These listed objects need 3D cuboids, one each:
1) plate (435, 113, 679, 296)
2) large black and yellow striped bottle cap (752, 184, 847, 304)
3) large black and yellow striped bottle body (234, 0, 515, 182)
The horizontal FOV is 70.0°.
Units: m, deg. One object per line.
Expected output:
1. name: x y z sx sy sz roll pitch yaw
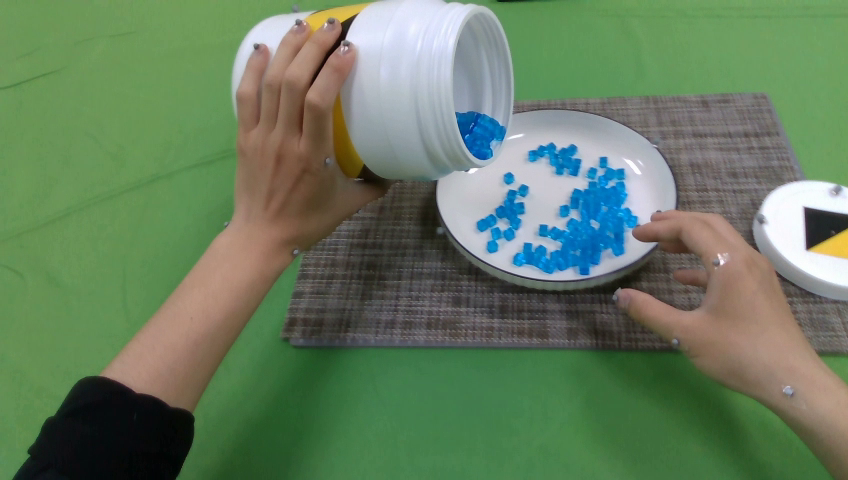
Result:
1. plate: 0.114 -0.033 0.539 0.207 0.039 0.205 -3 51 4
2. large black and yellow striped bottle cap: 0.334 0.000 0.498 0.115 0.019 0.114 -1 52 2
3. large black and yellow striped bottle body: -0.035 -0.110 0.464 0.183 0.132 0.130 5 50 29
